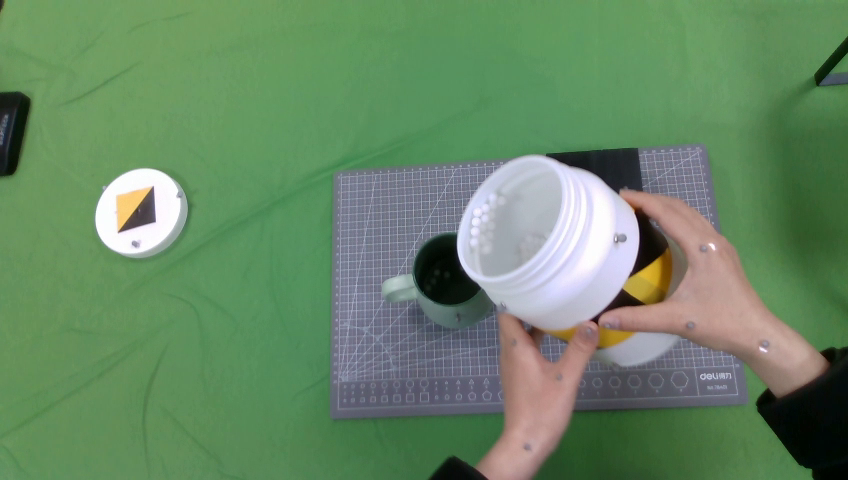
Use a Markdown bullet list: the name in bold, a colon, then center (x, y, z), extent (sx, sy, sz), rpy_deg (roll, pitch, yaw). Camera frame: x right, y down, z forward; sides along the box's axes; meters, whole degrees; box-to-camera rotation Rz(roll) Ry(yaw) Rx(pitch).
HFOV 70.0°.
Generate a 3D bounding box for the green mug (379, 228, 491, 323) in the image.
- **green mug**: center (0.013, 0.042, 0.654), extent (0.125, 0.105, 0.092), rpy_deg (-11, 74, 3)

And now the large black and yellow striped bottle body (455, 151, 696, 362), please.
- **large black and yellow striped bottle body**: center (0.127, 0.016, 0.509), extent (0.130, 0.186, 0.129), rpy_deg (-31, 45, 36)

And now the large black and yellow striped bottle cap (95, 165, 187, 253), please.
- **large black and yellow striped bottle cap**: center (-0.359, -0.040, 0.766), extent (0.115, 0.019, 0.114), rpy_deg (-2, 73, 6)
